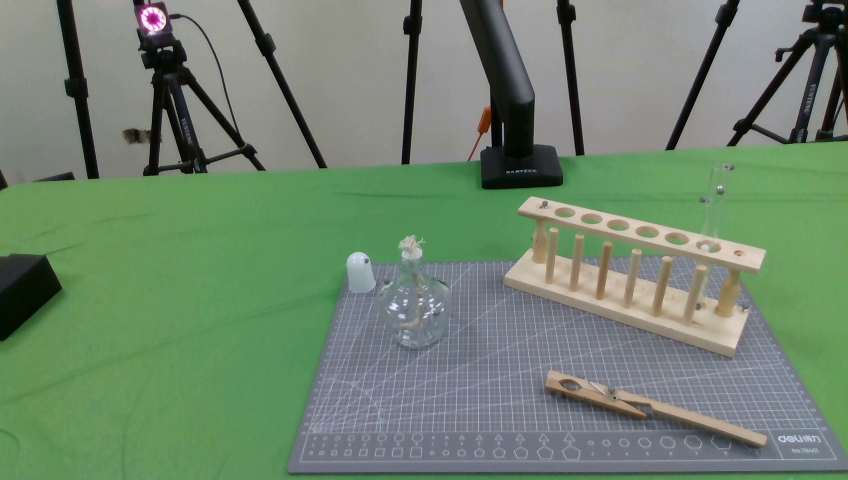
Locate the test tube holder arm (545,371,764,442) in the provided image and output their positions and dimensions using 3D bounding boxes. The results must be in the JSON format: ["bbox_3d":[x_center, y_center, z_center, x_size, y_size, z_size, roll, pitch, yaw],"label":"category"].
[{"bbox_3d":[0.192,0.141,0.520,0.177,0.015,0.013,10,70,22],"label":"test tube holder arm"}]

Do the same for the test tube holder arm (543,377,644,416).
[{"bbox_3d":[0.149,0.138,0.535,0.087,0.015,0.010,11,70,22],"label":"test tube holder arm"}]

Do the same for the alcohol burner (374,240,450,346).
[{"bbox_3d":[-0.013,0.048,0.607,0.078,0.120,0.077,-2,35,2],"label":"alcohol burner"}]

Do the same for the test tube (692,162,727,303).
[{"bbox_3d":[0.270,-0.003,0.581,0.017,0.151,0.017,-4,30,3],"label":"test tube"}]

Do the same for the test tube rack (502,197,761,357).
[{"bbox_3d":[0.203,0.030,0.630,0.240,0.086,0.066,17,39,30],"label":"test tube rack"}]

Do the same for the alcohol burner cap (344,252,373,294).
[{"bbox_3d":[-0.078,0.035,0.702,0.034,0.048,0.033,-2,34,2],"label":"alcohol burner cap"}]
